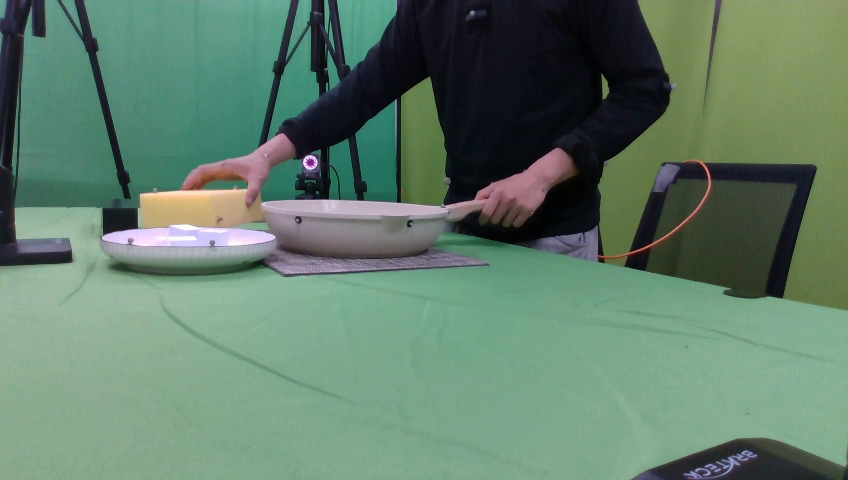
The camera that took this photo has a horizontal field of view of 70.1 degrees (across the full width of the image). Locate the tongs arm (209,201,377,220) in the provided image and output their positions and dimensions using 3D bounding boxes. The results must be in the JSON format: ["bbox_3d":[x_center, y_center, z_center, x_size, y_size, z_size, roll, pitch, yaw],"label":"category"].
[{"bbox_3d":[-0.306,-0.070,1.430,0.386,0.026,0.050,2,8,-15],"label":"tongs arm"}]

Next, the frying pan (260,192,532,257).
[{"bbox_3d":[-0.016,-0.043,1.006,0.490,0.102,0.305,-11,13,-26],"label":"frying pan"}]

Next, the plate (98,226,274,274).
[{"bbox_3d":[-0.301,0.012,0.778,0.208,0.039,0.207,3,7,0],"label":"plate"}]

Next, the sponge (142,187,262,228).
[{"bbox_3d":[-0.375,-0.057,1.044,0.118,0.061,0.207,-1,7,5],"label":"sponge"}]

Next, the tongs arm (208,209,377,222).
[{"bbox_3d":[-0.280,-0.055,1.355,0.389,0.028,0.028,-1,6,-28],"label":"tongs arm"}]
